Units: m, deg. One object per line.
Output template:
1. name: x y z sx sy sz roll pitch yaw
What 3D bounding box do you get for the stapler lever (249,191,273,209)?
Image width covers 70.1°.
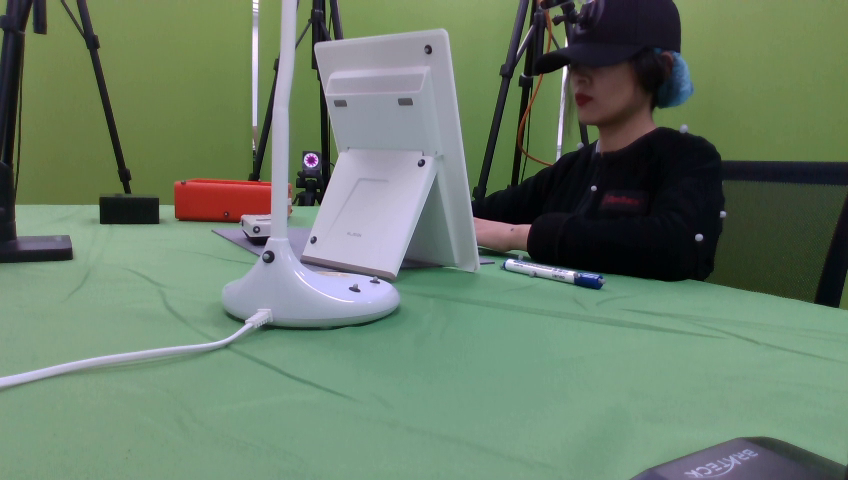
1. stapler lever: -0.352 -0.086 1.306 0.027 0.040 0.118 -1 5 -3

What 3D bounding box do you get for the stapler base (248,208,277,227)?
1. stapler base: -0.350 -0.054 1.310 0.041 0.024 0.130 -1 13 -3

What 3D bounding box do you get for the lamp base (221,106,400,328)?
1. lamp base: -0.101 -0.023 0.531 0.160 0.180 0.179 4 10 10

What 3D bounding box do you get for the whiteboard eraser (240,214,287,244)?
1. whiteboard eraser: -0.256 -0.017 0.958 0.056 0.042 0.112 0 8 -25

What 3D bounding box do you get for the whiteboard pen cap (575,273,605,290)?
1. whiteboard pen cap: 0.197 0.048 0.719 0.018 0.018 0.033 -4 11 -41

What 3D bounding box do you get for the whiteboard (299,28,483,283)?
1. whiteboard: -0.075 -0.082 0.741 0.216 0.305 0.144 9 30 38

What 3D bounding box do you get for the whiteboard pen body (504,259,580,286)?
1. whiteboard pen body: 0.157 0.042 0.764 0.017 0.017 0.140 -4 11 -41

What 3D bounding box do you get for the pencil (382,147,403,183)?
1. pencil: -0.059 -0.140 1.118 0.012 0.012 0.194 3 26 7

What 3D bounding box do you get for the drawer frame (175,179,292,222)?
1. drawer frame: -0.402 -0.087 1.311 0.214 0.082 0.201 1 8 -9

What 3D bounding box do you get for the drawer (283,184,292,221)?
1. drawer: -0.397 -0.086 1.314 0.212 0.073 0.194 1 8 -9
